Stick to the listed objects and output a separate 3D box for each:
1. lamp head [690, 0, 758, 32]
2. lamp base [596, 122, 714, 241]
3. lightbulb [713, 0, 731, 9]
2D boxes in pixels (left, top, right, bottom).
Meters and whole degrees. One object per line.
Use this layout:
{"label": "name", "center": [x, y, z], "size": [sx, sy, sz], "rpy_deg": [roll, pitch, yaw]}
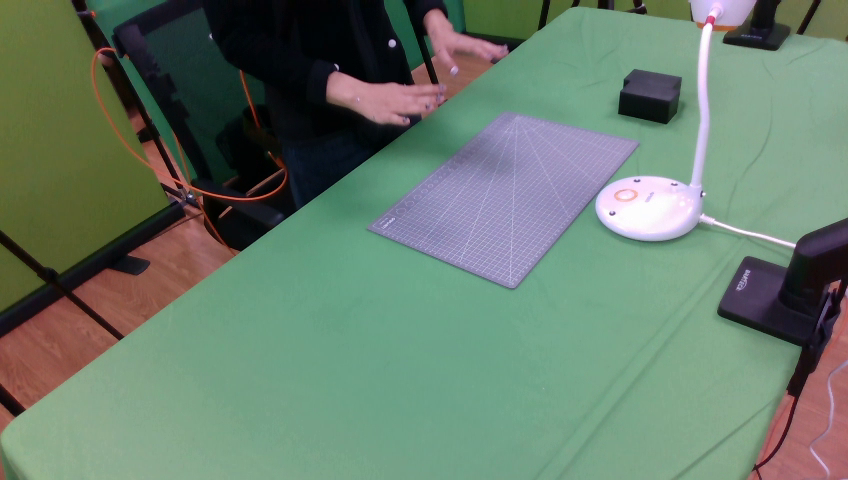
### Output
{"label": "lamp head", "center": [0.434, -0.363, 0.870], "size": [0.112, 0.123, 0.112], "rpy_deg": [2, 28, 0]}
{"label": "lamp base", "center": [0.363, -0.110, 0.921], "size": [0.178, 0.181, 0.160], "rpy_deg": [13, 45, 21]}
{"label": "lightbulb", "center": [0.432, -0.387, 0.864], "size": [0.059, 0.108, 0.059], "rpy_deg": [-5, 31, 4]}
